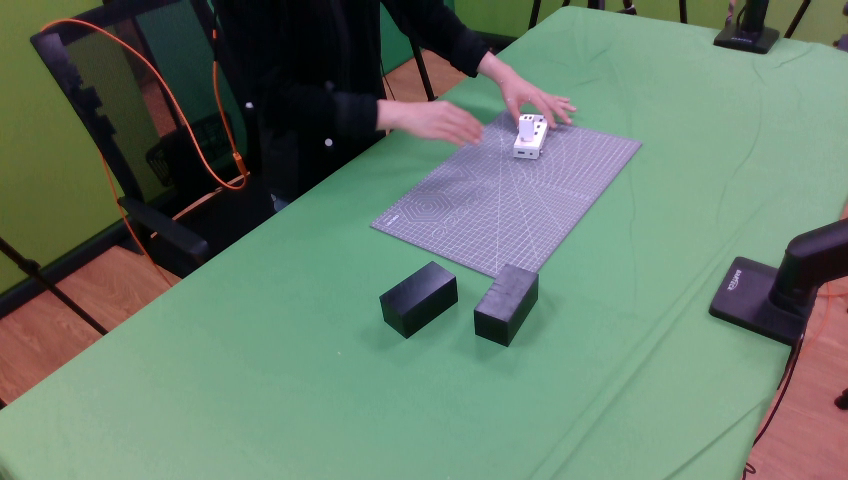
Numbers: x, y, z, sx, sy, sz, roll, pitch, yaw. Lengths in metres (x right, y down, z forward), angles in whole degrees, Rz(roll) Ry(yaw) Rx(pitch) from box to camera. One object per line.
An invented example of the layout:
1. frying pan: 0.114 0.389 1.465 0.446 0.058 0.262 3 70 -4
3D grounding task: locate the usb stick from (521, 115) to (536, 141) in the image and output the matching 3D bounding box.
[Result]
1. usb stick: 0.196 -0.203 1.134 0.027 0.059 0.021 8 42 15

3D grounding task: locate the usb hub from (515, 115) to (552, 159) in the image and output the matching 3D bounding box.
1. usb hub: 0.213 -0.201 1.173 0.049 0.025 0.125 9 43 18
